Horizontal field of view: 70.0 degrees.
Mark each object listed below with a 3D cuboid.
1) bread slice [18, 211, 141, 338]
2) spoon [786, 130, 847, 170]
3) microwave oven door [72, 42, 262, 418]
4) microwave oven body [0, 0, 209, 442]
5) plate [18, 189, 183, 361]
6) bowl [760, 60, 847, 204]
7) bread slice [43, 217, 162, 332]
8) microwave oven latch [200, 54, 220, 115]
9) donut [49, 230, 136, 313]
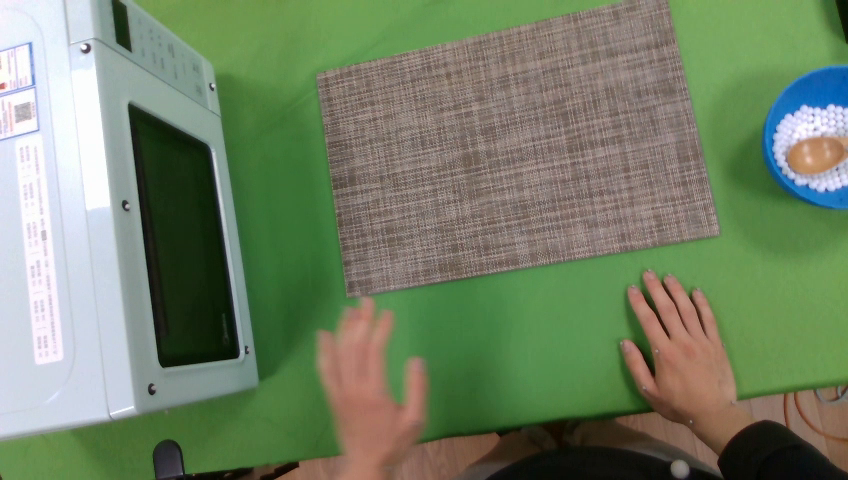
[{"bbox_3d":[-0.400,0.032,0.686,0.131,0.019,0.105,37,93,9],"label":"bread slice"},{"bbox_3d":[0.476,-0.114,0.614,0.193,0.022,0.041,-17,74,30],"label":"spoon"},{"bbox_3d":[-0.272,-0.002,0.666,0.039,0.245,0.354,-13,82,9],"label":"microwave oven door"},{"bbox_3d":[-0.420,-0.011,0.699,0.326,0.261,0.440,-12,82,8],"label":"microwave oven body"},{"bbox_3d":[-0.388,0.042,0.739,0.207,0.039,0.207,-1,83,8],"label":"plate"},{"bbox_3d":[0.433,-0.107,0.653,0.151,0.077,0.151,-1,83,10],"label":"bowl"},{"bbox_3d":[-0.395,0.036,0.732,0.133,0.018,0.107,29,82,15],"label":"bread slice"},{"bbox_3d":[-0.292,-0.202,0.795,0.030,0.029,0.079,-12,82,8],"label":"microwave oven latch"},{"bbox_3d":[-0.390,0.037,0.711,0.099,0.048,0.098,-1,81,5],"label":"donut"}]
